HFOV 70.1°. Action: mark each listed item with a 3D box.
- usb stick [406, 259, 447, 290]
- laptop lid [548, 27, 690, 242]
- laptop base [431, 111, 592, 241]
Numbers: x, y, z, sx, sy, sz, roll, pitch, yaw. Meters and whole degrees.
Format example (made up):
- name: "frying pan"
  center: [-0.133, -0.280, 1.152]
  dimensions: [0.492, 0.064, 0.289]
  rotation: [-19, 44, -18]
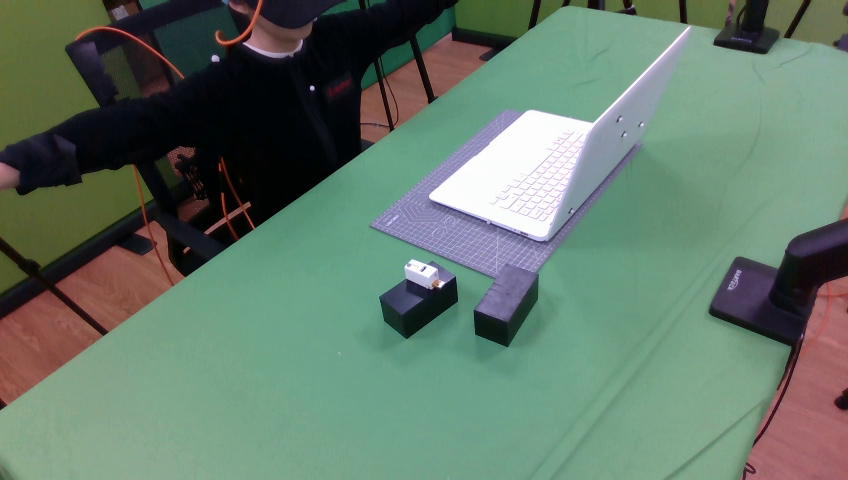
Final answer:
- name: "usb stick"
  center: [0.005, 0.050, 0.837]
  dimensions: [0.059, 0.027, 0.021]
  rotation: [24, 47, 29]
- name: "laptop lid"
  center: [0.309, -0.168, 0.949]
  dimensions: [0.013, 0.242, 0.358]
  rotation: [33, 52, 20]
- name: "laptop base"
  center: [0.206, -0.130, 1.100]
  dimensions: [0.233, 0.023, 0.355]
  rotation: [20, 48, 33]
